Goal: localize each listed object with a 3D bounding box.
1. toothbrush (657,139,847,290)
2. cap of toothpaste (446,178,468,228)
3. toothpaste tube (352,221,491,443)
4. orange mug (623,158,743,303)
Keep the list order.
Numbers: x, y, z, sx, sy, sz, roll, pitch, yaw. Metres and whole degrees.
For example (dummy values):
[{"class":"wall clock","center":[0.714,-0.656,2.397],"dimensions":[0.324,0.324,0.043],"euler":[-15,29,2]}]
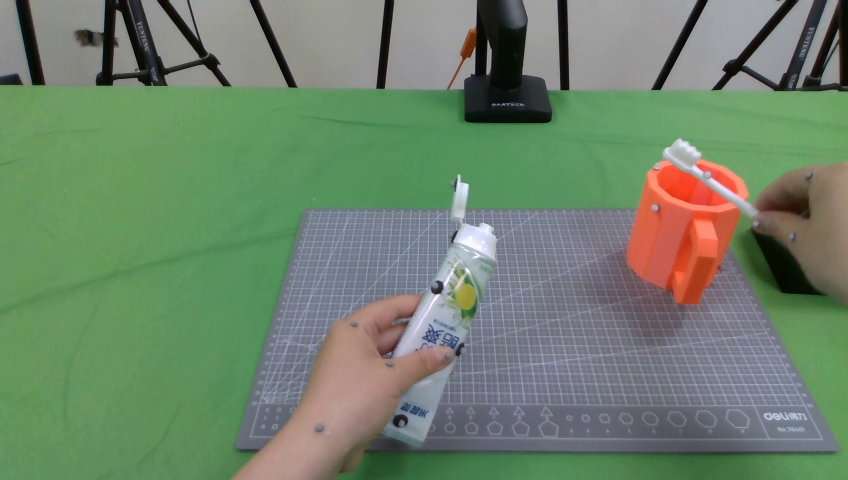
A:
[{"class":"toothbrush","center":[0.241,-0.013,0.422],"dimensions":[0.181,0.017,0.014],"euler":[38,46,8]},{"class":"cap of toothpaste","center":[0.025,-0.028,0.442],"dimensions":[0.011,0.037,0.037],"euler":[10,41,9]},{"class":"toothpaste tube","center":[0.006,0.060,0.432],"dimensions":[0.055,0.165,0.034],"euler":[25,-5,-13]},{"class":"orange mug","center":[0.239,-0.006,0.562],"dimensions":[0.083,0.101,0.125],"euler":[5,37,7]}]
